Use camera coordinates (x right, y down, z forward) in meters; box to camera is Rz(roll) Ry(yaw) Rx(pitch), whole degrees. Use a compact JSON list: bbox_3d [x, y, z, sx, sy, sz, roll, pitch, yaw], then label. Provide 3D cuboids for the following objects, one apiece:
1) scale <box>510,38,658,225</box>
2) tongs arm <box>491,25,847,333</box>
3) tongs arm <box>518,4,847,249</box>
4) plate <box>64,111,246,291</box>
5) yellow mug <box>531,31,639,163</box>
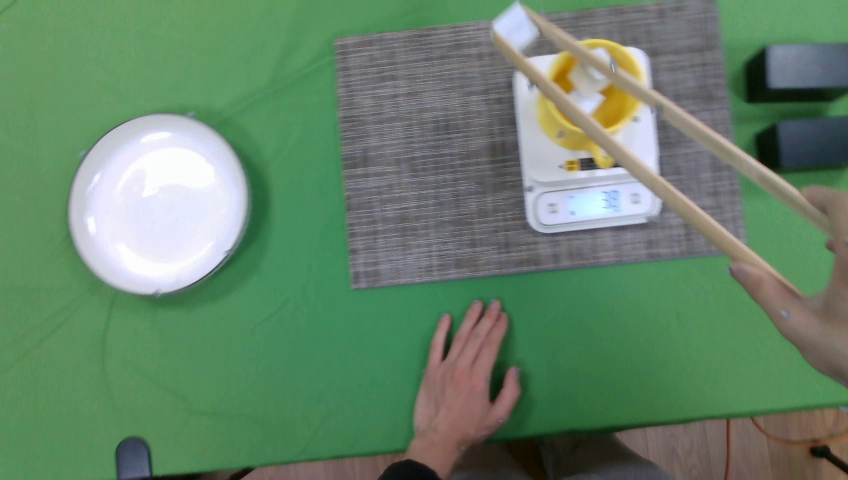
[{"bbox_3d":[0.180,-0.123,0.685,0.148,0.031,0.200,-7,86,3],"label":"scale"},{"bbox_3d":[0.169,-0.068,0.471,0.028,0.028,0.383,-37,58,-4],"label":"tongs arm"},{"bbox_3d":[0.188,-0.083,0.471,0.051,0.027,0.381,-42,59,-3],"label":"tongs arm"},{"bbox_3d":[-0.306,-0.044,0.703,0.207,0.039,0.207,0,86,2],"label":"plate"},{"bbox_3d":[0.172,-0.145,0.640,0.100,0.064,0.130,-16,86,0],"label":"yellow mug"}]
